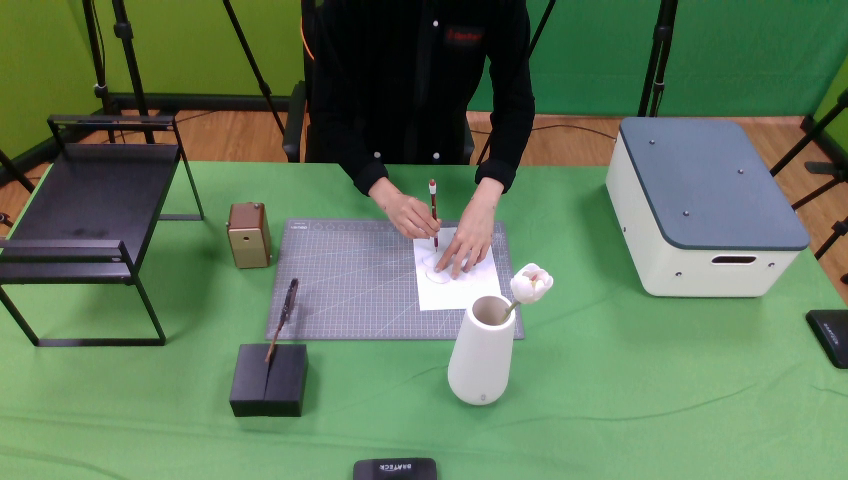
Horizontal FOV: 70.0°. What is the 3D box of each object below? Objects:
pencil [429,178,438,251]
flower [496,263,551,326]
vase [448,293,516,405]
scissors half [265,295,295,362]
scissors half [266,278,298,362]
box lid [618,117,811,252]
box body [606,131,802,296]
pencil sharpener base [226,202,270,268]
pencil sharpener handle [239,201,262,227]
[{"bbox_3d":[0.019,-0.041,1.113,0.012,0.195,0.012,-2,49,3],"label":"pencil"},{"bbox_3d":[0.102,0.120,0.853,0.044,0.363,0.038,-1,64,-10],"label":"flower"},{"bbox_3d":[0.091,0.169,0.921,0.098,0.201,0.097,3,47,-3],"label":"vase"},{"bbox_3d":[-0.239,0.143,1.005,0.013,0.040,0.174,17,28,-6],"label":"scissors half"},{"bbox_3d":[-0.234,0.127,0.993,0.013,0.040,0.174,12,46,-4],"label":"scissors half"},{"bbox_3d":[0.534,-0.117,1.148,0.263,0.015,0.369,0,47,-3],"label":"box lid"},{"bbox_3d":[0.530,-0.067,1.204,0.254,0.161,0.361,0,46,-4],"label":"box body"},{"bbox_3d":[-0.323,-0.010,1.123,0.061,0.107,0.076,-3,46,-7],"label":"pencil sharpener base"},{"bbox_3d":[-0.325,-0.056,1.150,0.036,0.068,0.030,-13,46,3],"label":"pencil sharpener handle"}]
